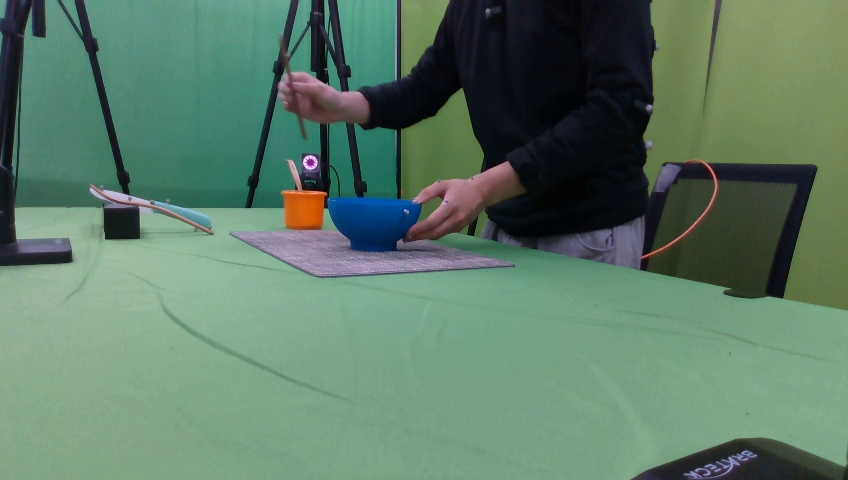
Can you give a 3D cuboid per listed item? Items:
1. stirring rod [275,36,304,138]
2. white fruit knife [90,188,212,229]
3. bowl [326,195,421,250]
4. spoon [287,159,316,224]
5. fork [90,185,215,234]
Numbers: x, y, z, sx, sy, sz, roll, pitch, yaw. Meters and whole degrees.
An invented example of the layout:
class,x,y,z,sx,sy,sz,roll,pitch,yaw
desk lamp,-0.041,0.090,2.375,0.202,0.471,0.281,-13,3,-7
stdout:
class,x,y,z,sx,sy,sz,roll,pitch,yaw
stirring rod,-0.235,-0.267,1.061,0.006,0.176,0.014,-10,15,5
white fruit knife,-0.478,-0.058,1.073,0.208,0.027,0.016,17,-4,-30
bowl,-0.080,-0.027,0.958,0.151,0.077,0.151,2,7,0
spoon,-0.261,-0.104,1.264,0.042,0.193,0.021,-2,-36,-26
fork,-0.452,-0.049,1.018,0.208,0.018,0.028,21,-8,-33
